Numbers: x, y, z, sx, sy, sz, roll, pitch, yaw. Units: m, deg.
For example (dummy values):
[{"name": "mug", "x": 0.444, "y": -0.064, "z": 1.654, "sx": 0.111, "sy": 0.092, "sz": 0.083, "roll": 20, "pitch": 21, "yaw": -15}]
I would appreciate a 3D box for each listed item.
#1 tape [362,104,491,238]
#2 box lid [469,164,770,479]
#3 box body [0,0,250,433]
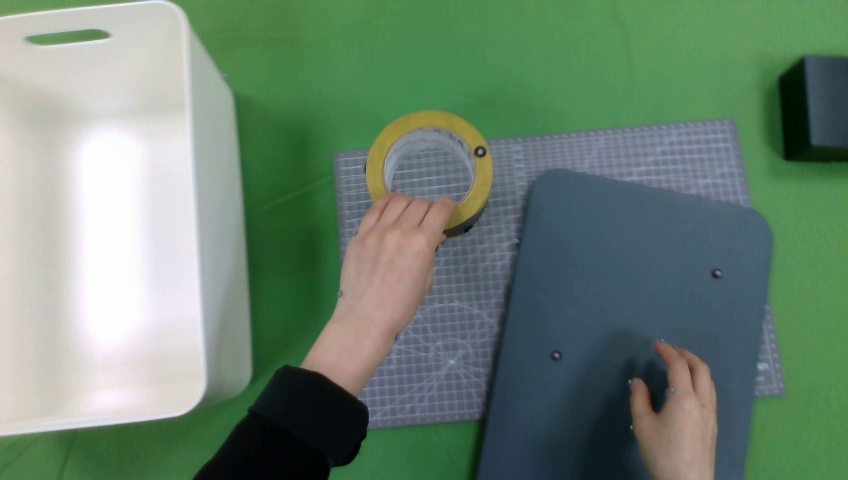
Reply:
[{"name": "tape", "x": 0.004, "y": -0.059, "z": 0.541, "sx": 0.117, "sy": 0.053, "sz": 0.116, "roll": 0, "pitch": 81, "yaw": 3}, {"name": "box lid", "x": 0.208, "y": 0.113, "z": 0.629, "sx": 0.263, "sy": 0.015, "sz": 0.370, "roll": 12, "pitch": 81, "yaw": 2}, {"name": "box body", "x": -0.315, "y": -0.015, "z": 0.580, "sx": 0.254, "sy": 0.161, "sz": 0.362, "roll": -6, "pitch": 80, "yaw": -1}]
